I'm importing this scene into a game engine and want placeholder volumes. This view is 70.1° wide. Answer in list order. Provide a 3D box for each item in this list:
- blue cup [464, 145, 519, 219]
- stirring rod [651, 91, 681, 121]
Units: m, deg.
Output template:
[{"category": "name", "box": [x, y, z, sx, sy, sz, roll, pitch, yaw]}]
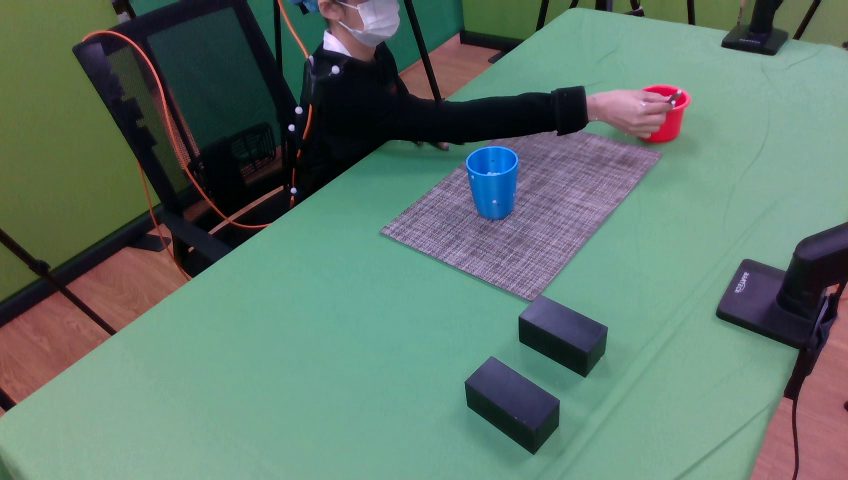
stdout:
[{"category": "blue cup", "box": [0.115, -0.090, 0.997, 0.092, 0.101, 0.092, -5, 41, 5]}, {"category": "stirring rod", "box": [0.437, -0.241, 1.097, 0.014, 0.176, 0.006, -18, 84, 7]}]
